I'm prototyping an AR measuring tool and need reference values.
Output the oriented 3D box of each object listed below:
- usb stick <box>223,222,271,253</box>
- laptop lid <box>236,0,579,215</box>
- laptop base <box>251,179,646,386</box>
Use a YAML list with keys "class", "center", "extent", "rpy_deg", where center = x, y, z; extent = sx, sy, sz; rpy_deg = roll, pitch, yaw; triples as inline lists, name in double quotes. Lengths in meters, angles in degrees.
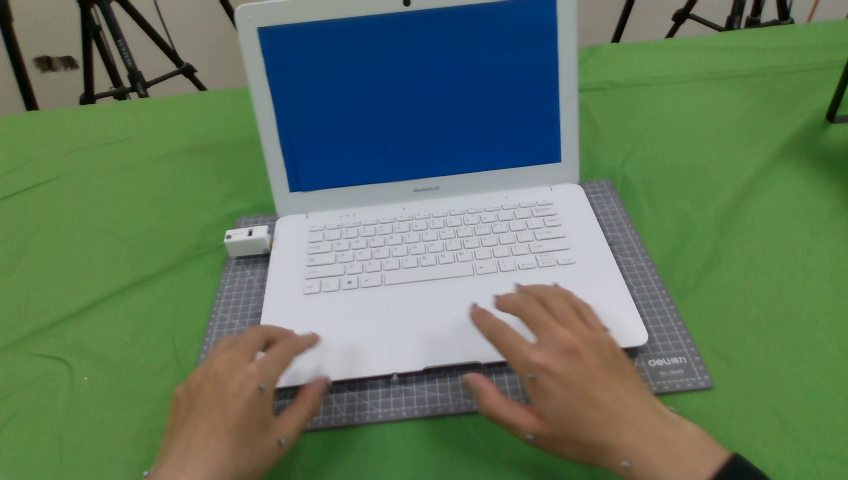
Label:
- class: "usb stick"
  center: [-0.185, -0.003, 0.659]
  extent: [0.059, 0.027, 0.021]
  rpy_deg: [-4, 40, -3]
- class: "laptop lid"
  center: [-0.008, -0.153, 0.660]
  extent: [0.357, 0.243, 0.013]
  rpy_deg: [-8, 21, -1]
- class: "laptop base"
  center: [0.014, 0.033, 0.616]
  extent: [0.354, 0.023, 0.233]
  rpy_deg: [-7, 45, -1]
